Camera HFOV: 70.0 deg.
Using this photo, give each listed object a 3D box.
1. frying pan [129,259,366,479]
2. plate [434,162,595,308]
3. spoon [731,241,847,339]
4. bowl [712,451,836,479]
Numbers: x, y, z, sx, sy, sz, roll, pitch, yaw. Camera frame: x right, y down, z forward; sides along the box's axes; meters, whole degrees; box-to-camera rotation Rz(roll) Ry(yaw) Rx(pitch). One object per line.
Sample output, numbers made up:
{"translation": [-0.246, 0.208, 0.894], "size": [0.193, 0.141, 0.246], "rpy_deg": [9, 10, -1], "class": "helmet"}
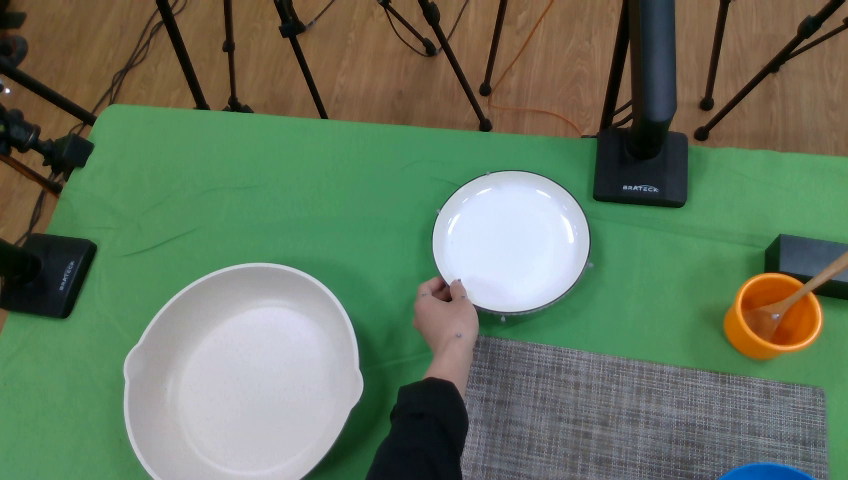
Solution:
{"translation": [-0.231, 0.258, 0.707], "size": [0.306, 0.104, 0.484], "rpy_deg": [5, 59, 11], "class": "frying pan"}
{"translation": [0.118, -0.006, 0.805], "size": [0.207, 0.039, 0.206], "rpy_deg": [-3, 67, 8], "class": "plate"}
{"translation": [0.426, 0.046, 0.676], "size": [0.022, 0.194, 0.041], "rpy_deg": [-4, 51, -42], "class": "spoon"}
{"translation": [0.351, 0.296, 0.614], "size": [0.151, 0.077, 0.150], "rpy_deg": [-3, 66, 7], "class": "bowl"}
